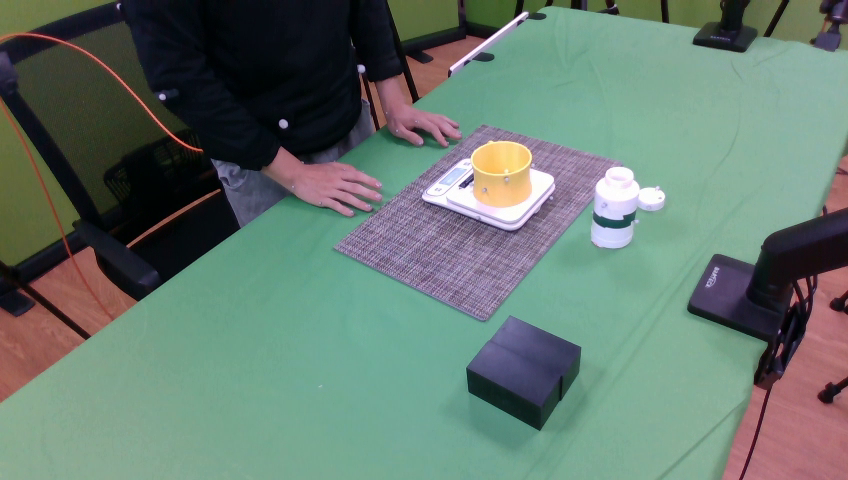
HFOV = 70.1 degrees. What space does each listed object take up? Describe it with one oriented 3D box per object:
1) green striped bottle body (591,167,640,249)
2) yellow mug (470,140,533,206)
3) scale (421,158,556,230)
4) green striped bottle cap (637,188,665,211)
[{"bbox_3d":[0.288,-0.050,0.910,0.063,0.120,0.063,-4,41,4],"label":"green striped bottle body"},{"bbox_3d":[0.125,-0.121,1.004,0.100,0.064,0.130,-13,41,-5],"label":"yellow mug"},{"bbox_3d":[0.110,-0.089,1.042,0.199,0.032,0.149,23,48,31],"label":"scale"},{"bbox_3d":[0.374,-0.067,0.998,0.044,0.020,0.044,-7,39,6],"label":"green striped bottle cap"}]
